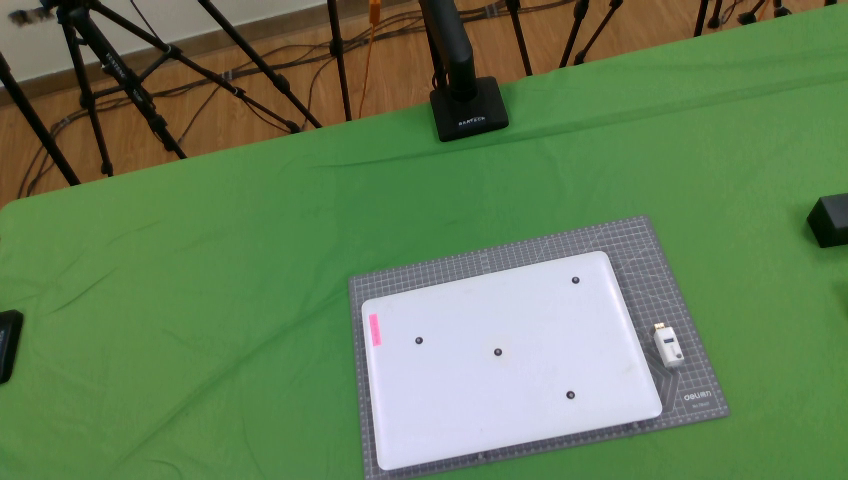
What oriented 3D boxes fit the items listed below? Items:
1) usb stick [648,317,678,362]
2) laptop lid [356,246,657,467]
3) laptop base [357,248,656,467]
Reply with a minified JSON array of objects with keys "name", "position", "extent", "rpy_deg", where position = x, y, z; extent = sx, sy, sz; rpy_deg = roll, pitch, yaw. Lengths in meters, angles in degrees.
[{"name":"usb stick","position":[0.301,0.122,0.770],"extent":[0.021,0.027,0.058],"rpy_deg":[-15,55,6]},{"name":"laptop lid","position":[0.093,0.143,0.789],"extent":[0.356,0.013,0.239],"rpy_deg":[-12,60,4]},{"name":"laptop base","position":[0.094,0.147,0.801],"extent":[0.354,0.023,0.233],"rpy_deg":[-13,61,3]}]
